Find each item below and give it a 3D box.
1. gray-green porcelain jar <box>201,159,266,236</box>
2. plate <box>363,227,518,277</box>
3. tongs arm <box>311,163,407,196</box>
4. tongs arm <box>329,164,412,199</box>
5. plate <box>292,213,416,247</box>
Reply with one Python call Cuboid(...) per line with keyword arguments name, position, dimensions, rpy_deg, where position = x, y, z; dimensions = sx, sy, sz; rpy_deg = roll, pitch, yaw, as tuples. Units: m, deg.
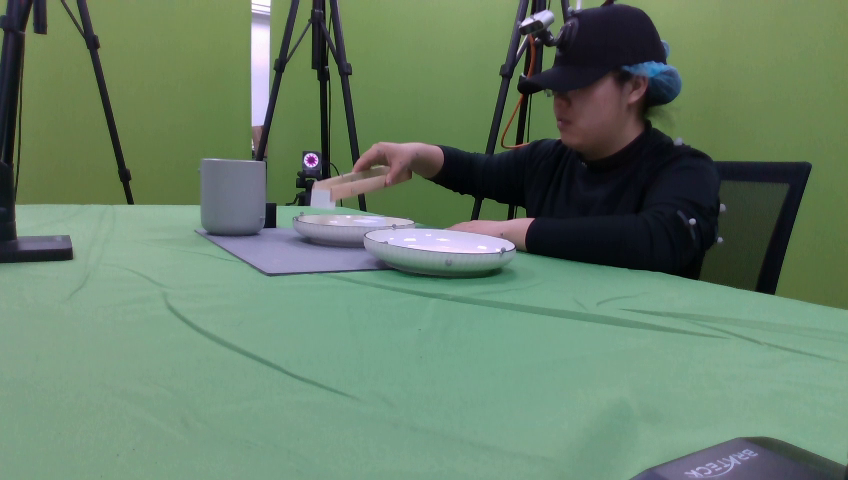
Cuboid(name="gray-green porcelain jar", position=(-0.326, -0.073, 1.036), dimensions=(0.106, 0.126, 0.106), rpy_deg=(3, 8, 0))
Cuboid(name="plate", position=(0.021, 0.016, 0.817), dimensions=(0.209, 0.038, 0.209), rpy_deg=(4, 9, 0))
Cuboid(name="tongs arm", position=(-0.114, -0.122, 1.188), dimensions=(0.050, 0.026, 0.385), rpy_deg=(9, 14, 14))
Cuboid(name="tongs arm", position=(-0.092, -0.118, 1.181), dimensions=(0.028, 0.028, 0.388), rpy_deg=(6, 13, 19))
Cuboid(name="plate", position=(-0.118, -0.017, 1.024), dimensions=(0.208, 0.039, 0.207), rpy_deg=(3, 8, 0))
